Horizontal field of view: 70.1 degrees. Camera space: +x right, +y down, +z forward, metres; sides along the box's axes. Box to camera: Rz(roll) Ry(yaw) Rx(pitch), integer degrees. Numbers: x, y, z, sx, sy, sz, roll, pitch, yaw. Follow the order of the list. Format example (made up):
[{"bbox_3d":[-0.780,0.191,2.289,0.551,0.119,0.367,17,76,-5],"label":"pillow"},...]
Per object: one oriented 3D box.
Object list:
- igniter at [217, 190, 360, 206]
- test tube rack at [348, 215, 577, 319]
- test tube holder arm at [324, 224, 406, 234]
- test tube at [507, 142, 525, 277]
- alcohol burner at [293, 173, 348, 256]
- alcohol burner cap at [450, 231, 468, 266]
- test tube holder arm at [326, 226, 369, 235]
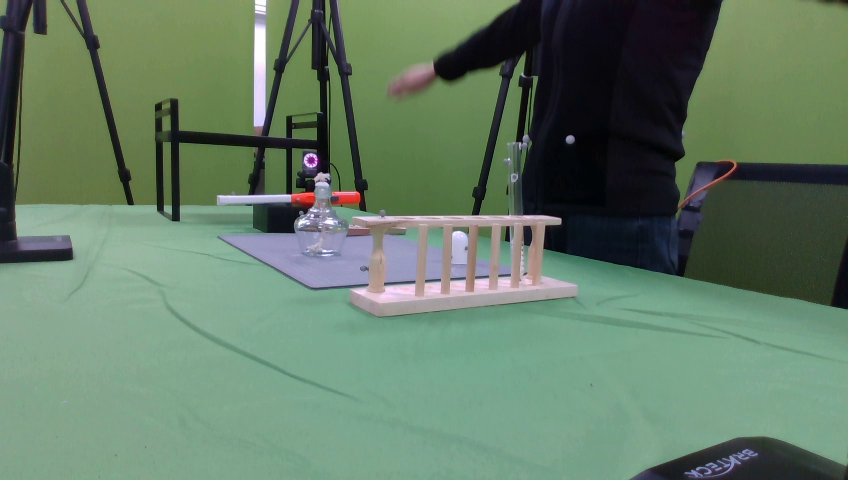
[{"bbox_3d":[-0.248,-0.080,1.150,0.278,0.025,0.057,-5,7,-29],"label":"igniter"},{"bbox_3d":[0.048,0.021,0.619,0.244,0.085,0.066,-2,9,-31],"label":"test tube rack"},{"bbox_3d":[-0.105,-0.020,1.120,0.179,0.015,0.013,0,30,-43],"label":"test tube holder arm"},{"bbox_3d":[0.101,-0.032,0.664,0.017,0.150,0.017,-3,9,1],"label":"test tube"},{"bbox_3d":[-0.147,-0.036,0.859,0.078,0.119,0.078,4,8,0],"label":"alcohol burner"},{"bbox_3d":[0.046,0.011,0.838,0.034,0.048,0.034,2,6,0],"label":"alcohol burner cap"},{"bbox_3d":[-0.136,-0.017,1.085,0.088,0.015,0.010,0,30,-42],"label":"test tube holder arm"}]
